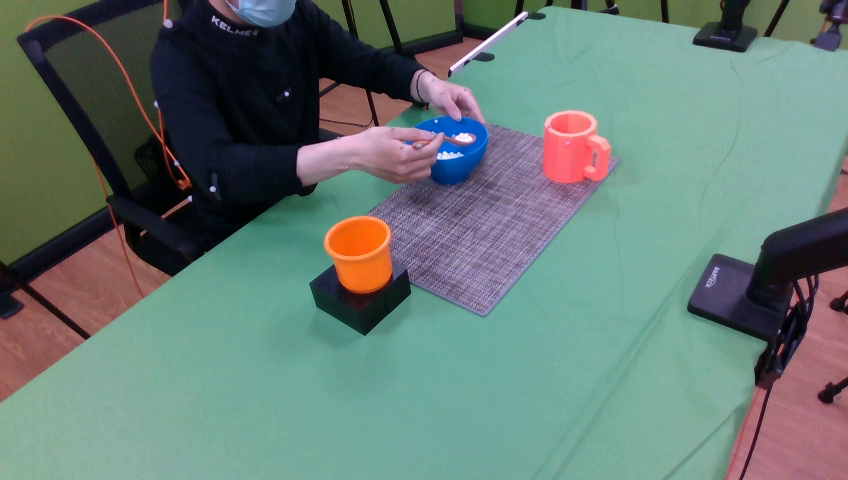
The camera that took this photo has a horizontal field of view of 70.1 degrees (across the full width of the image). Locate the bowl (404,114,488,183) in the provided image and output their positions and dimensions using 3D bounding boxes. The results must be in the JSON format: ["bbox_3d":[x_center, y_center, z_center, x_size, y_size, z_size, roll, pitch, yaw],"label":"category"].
[{"bbox_3d":[0.043,-0.156,1.095,0.151,0.077,0.150,-4,41,4],"label":"bowl"}]

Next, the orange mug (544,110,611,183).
[{"bbox_3d":[0.266,-0.157,1.049,0.084,0.101,0.125,-33,42,-26],"label":"orange mug"}]

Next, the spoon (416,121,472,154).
[{"bbox_3d":[0.034,-0.164,0.986,0.021,0.041,0.194,38,33,16],"label":"spoon"}]
